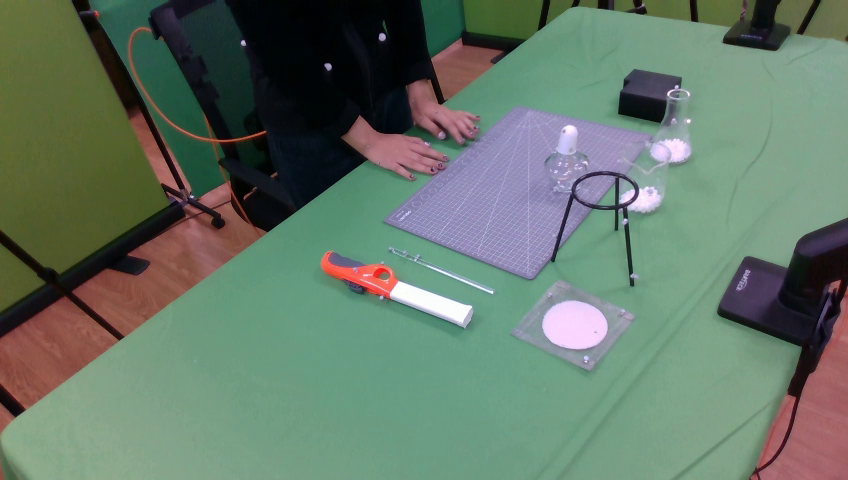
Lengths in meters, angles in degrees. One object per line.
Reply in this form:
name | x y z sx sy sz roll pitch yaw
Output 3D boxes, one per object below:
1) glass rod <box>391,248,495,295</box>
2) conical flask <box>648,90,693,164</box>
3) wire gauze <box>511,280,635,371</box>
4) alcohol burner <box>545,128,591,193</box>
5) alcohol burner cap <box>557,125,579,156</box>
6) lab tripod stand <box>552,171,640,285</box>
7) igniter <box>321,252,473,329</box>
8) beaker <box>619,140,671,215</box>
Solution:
glass rod | 0.026 0.046 0.937 0.198 0.008 0.008 22 50 31
conical flask | 0.437 -0.199 1.057 0.075 0.122 0.075 -5 40 5
wire gauze | 0.203 0.114 0.822 0.120 0.011 0.125 25 52 35
alcohol burner | 0.245 -0.141 1.028 0.078 0.119 0.077 -5 42 5
alcohol burner cap | 0.241 -0.167 1.004 0.034 0.048 0.033 0 39 1
lab tripod stand | 0.260 -0.025 0.877 0.148 0.132 0.147 -6 38 5
igniter | -0.051 0.071 0.906 0.274 0.025 0.057 18 57 29
beaker | 0.352 -0.096 0.971 0.074 0.101 0.084 1 42 13
